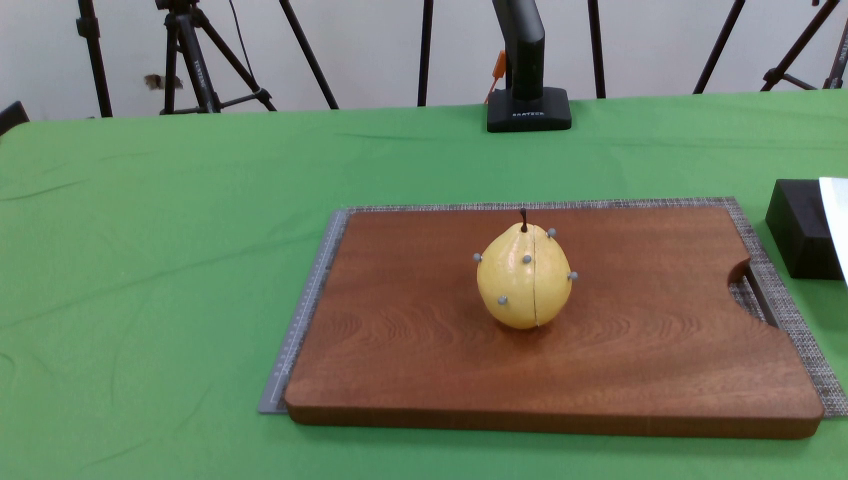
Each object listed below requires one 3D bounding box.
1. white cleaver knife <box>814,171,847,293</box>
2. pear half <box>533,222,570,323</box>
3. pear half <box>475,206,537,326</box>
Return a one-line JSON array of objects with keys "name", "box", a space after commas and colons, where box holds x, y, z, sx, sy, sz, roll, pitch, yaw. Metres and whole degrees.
[{"name": "white cleaver knife", "box": [0.385, 0.043, 0.501, 0.065, 0.022, 0.284, 0, 48, 14]}, {"name": "pear half", "box": [0.105, 0.026, 0.501, 0.031, 0.088, 0.070, -1, 30, 8]}, {"name": "pear half", "box": [0.069, 0.017, 0.501, 0.056, 0.111, 0.076, 0, 33, 8]}]
